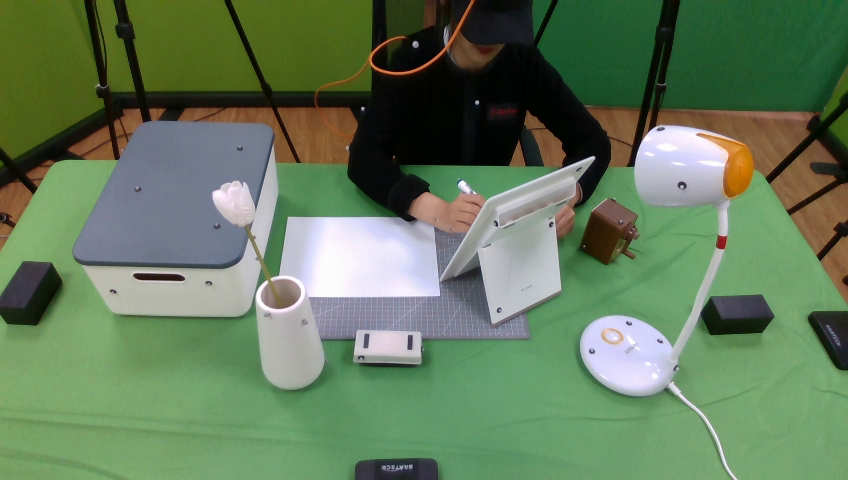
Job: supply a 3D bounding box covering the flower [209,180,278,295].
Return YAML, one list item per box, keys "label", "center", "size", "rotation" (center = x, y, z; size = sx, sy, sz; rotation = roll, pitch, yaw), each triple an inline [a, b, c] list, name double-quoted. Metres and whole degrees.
- label: "flower"
  center: [-0.216, 0.075, 0.871]
  size: [0.044, 0.363, 0.038]
  rotation: [-29, 36, -19]

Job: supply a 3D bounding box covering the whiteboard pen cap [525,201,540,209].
- label: "whiteboard pen cap"
  center: [0.230, -0.074, 1.289]
  size: [0.033, 0.018, 0.018]
  rotation: [4, 46, 4]

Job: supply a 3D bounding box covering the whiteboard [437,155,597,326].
- label: "whiteboard"
  center: [0.180, 0.024, 1.029]
  size: [0.217, 0.306, 0.143]
  rotation: [-22, 70, -23]

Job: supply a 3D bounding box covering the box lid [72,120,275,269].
- label: "box lid"
  center: [-0.417, -0.094, 1.056]
  size: [0.263, 0.015, 0.369]
  rotation: [1, 47, -3]

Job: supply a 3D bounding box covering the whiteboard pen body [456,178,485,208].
- label: "whiteboard pen body"
  center: [0.105, -0.065, 1.107]
  size: [0.017, 0.017, 0.140]
  rotation: [-26, 60, -26]

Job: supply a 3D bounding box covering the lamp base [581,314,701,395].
- label: "lamp base"
  center: [0.361, 0.145, 0.973]
  size: [0.178, 0.181, 0.160]
  rotation: [34, 53, 23]

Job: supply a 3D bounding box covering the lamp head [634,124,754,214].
- label: "lamp head"
  center: [0.351, -0.089, 0.776]
  size: [0.112, 0.113, 0.122]
  rotation: [-30, 30, -28]

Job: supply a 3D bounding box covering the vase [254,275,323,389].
- label: "vase"
  center: [-0.209, 0.143, 0.921]
  size: [0.098, 0.201, 0.097]
  rotation: [1, 46, -1]

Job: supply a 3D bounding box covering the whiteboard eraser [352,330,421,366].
- label: "whiteboard eraser"
  center: [-0.060, 0.180, 1.005]
  size: [0.113, 0.042, 0.055]
  rotation: [3, 48, -2]

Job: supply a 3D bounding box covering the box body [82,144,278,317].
- label: "box body"
  center: [-0.421, -0.041, 1.108]
  size: [0.254, 0.161, 0.361]
  rotation: [2, 46, -3]

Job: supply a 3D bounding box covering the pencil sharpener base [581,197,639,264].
- label: "pencil sharpener base"
  center: [0.362, -0.017, 1.179]
  size: [0.076, 0.107, 0.061]
  rotation: [37, 54, 27]

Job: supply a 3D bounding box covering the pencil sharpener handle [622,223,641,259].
- label: "pencil sharpener handle"
  center: [0.397, 0.003, 1.146]
  size: [0.030, 0.068, 0.036]
  rotation: [37, 45, 27]
